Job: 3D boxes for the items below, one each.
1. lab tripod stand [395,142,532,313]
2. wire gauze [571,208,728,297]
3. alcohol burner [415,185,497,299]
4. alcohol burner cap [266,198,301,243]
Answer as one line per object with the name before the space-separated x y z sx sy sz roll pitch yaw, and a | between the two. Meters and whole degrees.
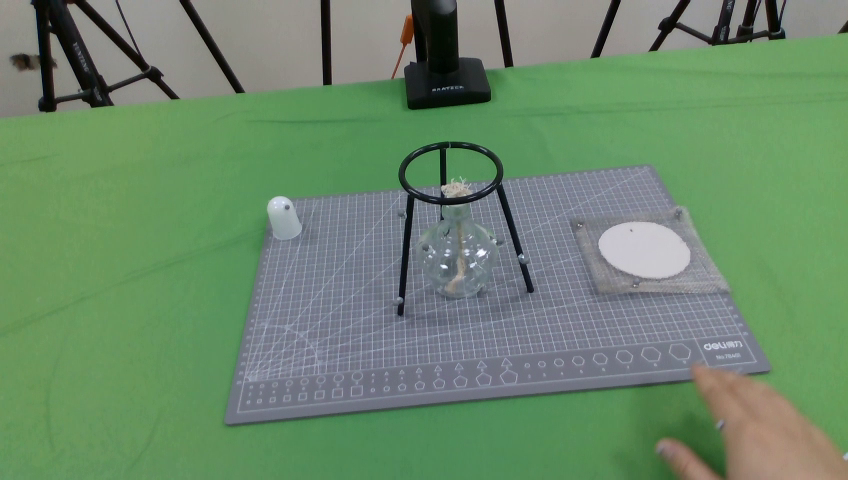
lab tripod stand | 0.030 -0.012 0.554 0.148 0.133 0.147 -2 41 2
wire gauze | 0.220 0.011 0.603 0.125 0.011 0.120 -2 42 1
alcohol burner | 0.029 -0.002 0.559 0.078 0.120 0.077 -2 41 2
alcohol burner cap | -0.154 -0.025 0.657 0.034 0.048 0.033 -2 43 2
